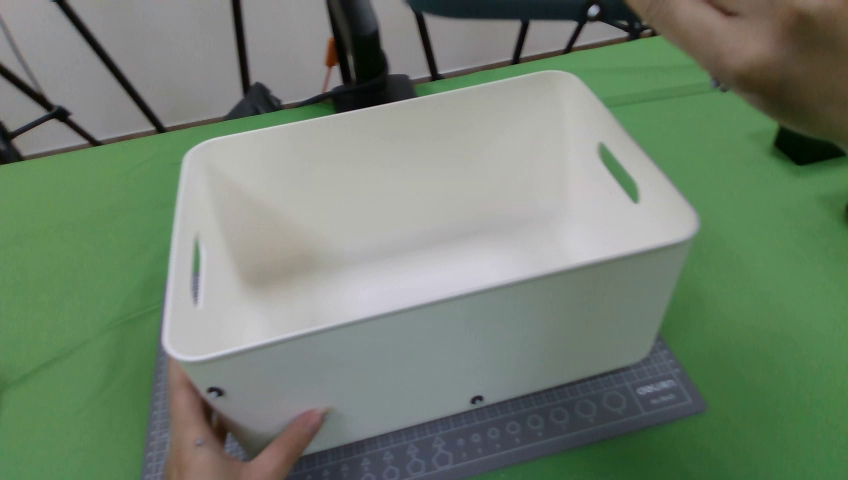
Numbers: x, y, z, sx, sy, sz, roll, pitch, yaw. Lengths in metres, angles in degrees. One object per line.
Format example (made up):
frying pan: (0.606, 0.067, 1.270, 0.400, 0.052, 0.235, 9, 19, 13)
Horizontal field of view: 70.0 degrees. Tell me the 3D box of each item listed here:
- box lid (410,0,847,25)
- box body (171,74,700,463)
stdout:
box lid: (0.180, -0.183, 0.363, 0.371, 0.015, 0.261, 3, 41, 3)
box body: (0.000, 0.014, 0.525, 0.364, 0.162, 0.251, -13, 43, -6)
